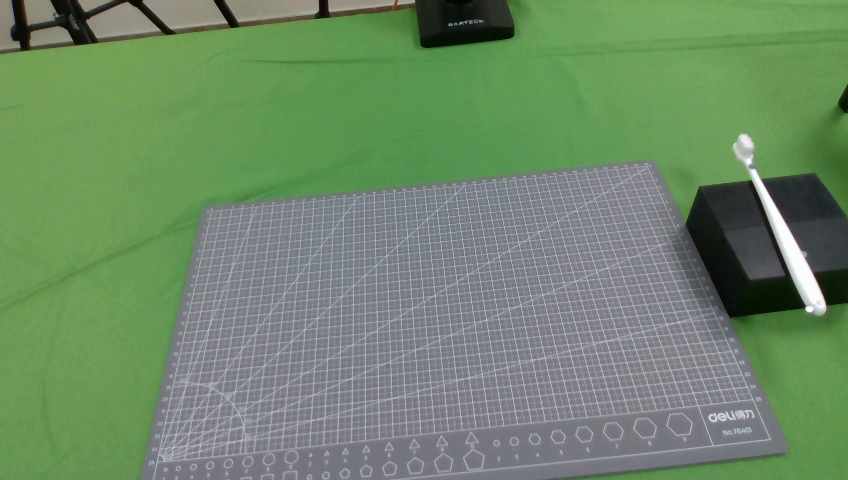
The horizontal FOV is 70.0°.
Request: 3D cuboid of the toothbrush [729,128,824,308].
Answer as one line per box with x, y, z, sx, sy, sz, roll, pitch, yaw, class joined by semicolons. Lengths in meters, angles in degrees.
0.274;-0.025;0.475;0.014;0.017;0.180;0;51;1;toothbrush
